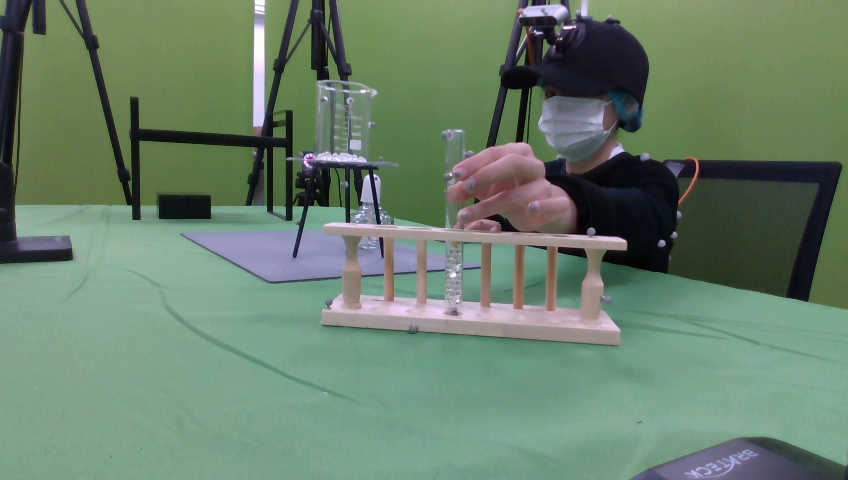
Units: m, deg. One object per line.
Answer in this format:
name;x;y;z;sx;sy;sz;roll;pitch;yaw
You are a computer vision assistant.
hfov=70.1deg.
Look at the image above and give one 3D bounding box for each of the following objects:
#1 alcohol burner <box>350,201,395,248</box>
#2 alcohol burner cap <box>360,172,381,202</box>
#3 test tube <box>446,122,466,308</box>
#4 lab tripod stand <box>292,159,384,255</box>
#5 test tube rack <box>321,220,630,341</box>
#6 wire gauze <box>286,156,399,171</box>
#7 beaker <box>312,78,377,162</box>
alcohol burner;-0.084;-0.048;0.953;0.078;0.119;0.078;1;6;0
alcohol burner cap;-0.081;-0.084;0.949;0.034;0.048;0.034;7;7;-1
test tube;0.025;-0.018;0.486;0.017;0.150;0.017;0;9;0
lab tripod stand;-0.105;-0.039;0.797;0.148;0.131;0.148;2;5;0
test tube rack;0.041;0.029;0.511;0.242;0.085;0.067;3;7;5
wire gauze;-0.101;-0.103;0.788;0.121;0.011;0.125;5;4;6
beaker;-0.103;-0.151;0.775;0.084;0.100;0.074;5;6;14
